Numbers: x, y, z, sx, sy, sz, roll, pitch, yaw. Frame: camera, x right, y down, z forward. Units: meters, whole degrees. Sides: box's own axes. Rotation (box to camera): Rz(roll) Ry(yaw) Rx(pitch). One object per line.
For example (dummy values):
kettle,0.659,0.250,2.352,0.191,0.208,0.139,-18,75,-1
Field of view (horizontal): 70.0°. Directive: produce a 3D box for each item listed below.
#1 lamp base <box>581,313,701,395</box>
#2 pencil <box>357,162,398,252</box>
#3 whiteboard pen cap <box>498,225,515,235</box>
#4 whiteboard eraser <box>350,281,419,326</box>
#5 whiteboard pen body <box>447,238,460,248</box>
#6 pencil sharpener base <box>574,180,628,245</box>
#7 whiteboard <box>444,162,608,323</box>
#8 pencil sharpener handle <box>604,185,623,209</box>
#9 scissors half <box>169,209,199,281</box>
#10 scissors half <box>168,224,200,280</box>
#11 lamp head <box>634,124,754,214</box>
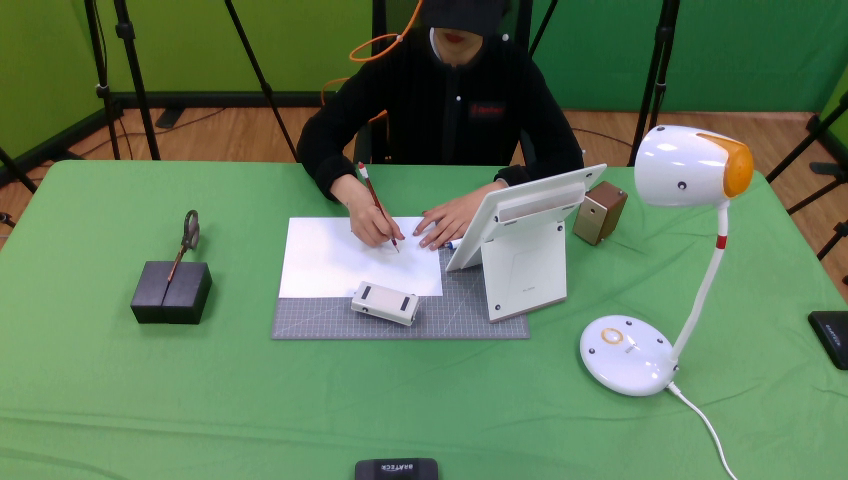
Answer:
lamp base,0.361,0.144,0.973,0.178,0.181,0.160,34,53,23
pencil,-0.085,-0.059,1.140,0.012,0.195,0.012,-18,24,8
whiteboard pen cap,0.166,-0.019,1.222,0.033,0.018,0.018,-14,49,-19
whiteboard eraser,-0.069,0.113,1.065,0.112,0.042,0.055,14,46,9
whiteboard pen body,0.112,-0.005,1.204,0.141,0.017,0.017,-13,49,-18
pencil sharpener base,0.355,-0.056,1.217,0.076,0.107,0.061,-33,56,-31
whiteboard,0.186,0.025,1.029,0.217,0.306,0.143,-14,68,-17
pencil sharpener handle,0.390,-0.091,1.235,0.030,0.068,0.036,-33,69,-31
scissors half,-0.438,0.007,1.098,0.013,0.040,0.174,3,48,-3
scissors half,-0.440,0.023,1.111,0.013,0.040,0.174,7,29,-6
lamp head,0.351,-0.089,0.776,0.112,0.113,0.122,-30,30,-28
